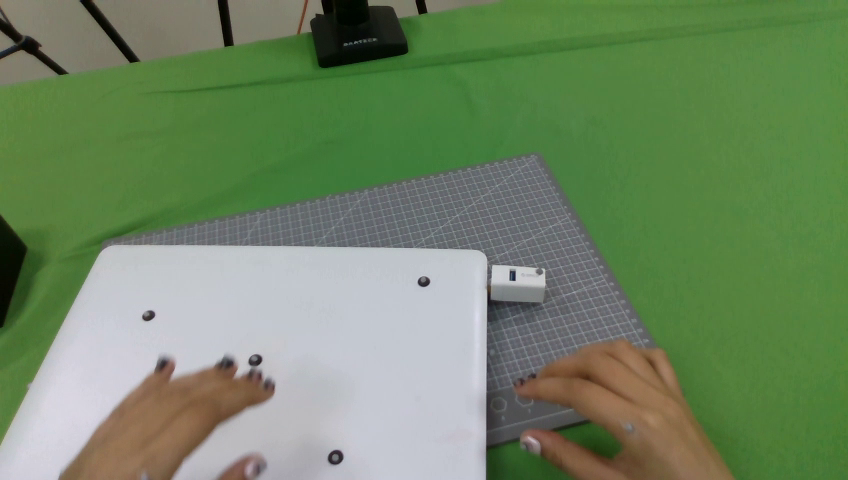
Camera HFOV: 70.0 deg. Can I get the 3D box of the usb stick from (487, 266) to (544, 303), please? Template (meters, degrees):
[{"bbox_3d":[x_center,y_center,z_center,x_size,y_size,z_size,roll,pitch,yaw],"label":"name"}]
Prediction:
[{"bbox_3d":[0.069,0.037,0.504,0.059,0.027,0.021,1,50,8],"label":"usb stick"}]

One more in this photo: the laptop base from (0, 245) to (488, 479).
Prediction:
[{"bbox_3d":[-0.128,0.102,0.478,0.354,0.023,0.233,1,52,5],"label":"laptop base"}]

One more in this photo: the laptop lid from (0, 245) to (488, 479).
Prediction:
[{"bbox_3d":[-0.129,0.096,0.468,0.356,0.013,0.239,2,51,6],"label":"laptop lid"}]
